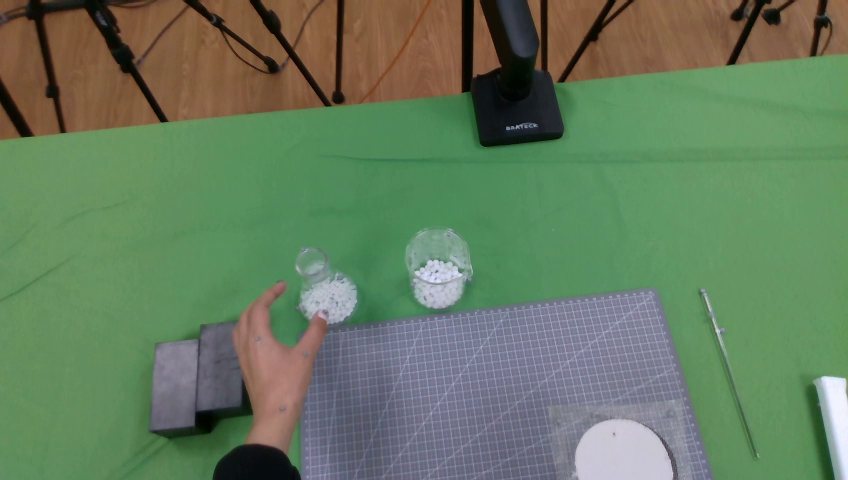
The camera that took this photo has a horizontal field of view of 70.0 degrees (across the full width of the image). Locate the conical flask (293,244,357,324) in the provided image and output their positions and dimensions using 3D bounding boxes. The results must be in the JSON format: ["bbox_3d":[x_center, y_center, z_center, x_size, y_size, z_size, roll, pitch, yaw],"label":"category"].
[{"bbox_3d":[-0.122,0.047,0.713,0.075,0.123,0.074,0,65,1],"label":"conical flask"}]

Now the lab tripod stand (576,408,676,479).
[{"bbox_3d":[0.184,0.234,0.609,0.148,0.132,0.147,-1,66,2],"label":"lab tripod stand"}]

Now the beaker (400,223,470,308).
[{"bbox_3d":[0.016,0.035,0.728,0.083,0.101,0.073,27,68,12],"label":"beaker"}]

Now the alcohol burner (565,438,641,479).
[{"bbox_3d":[0.186,0.240,0.617,0.078,0.120,0.077,-1,65,3],"label":"alcohol burner"}]

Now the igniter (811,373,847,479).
[{"bbox_3d":[0.456,0.280,0.643,0.057,0.025,0.274,8,65,-6],"label":"igniter"}]

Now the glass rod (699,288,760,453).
[{"bbox_3d":[0.359,0.149,0.716,0.008,0.008,0.198,-7,64,-2],"label":"glass rod"}]

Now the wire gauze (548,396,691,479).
[{"bbox_3d":[0.180,0.205,0.548,0.125,0.011,0.120,-2,67,2],"label":"wire gauze"}]
